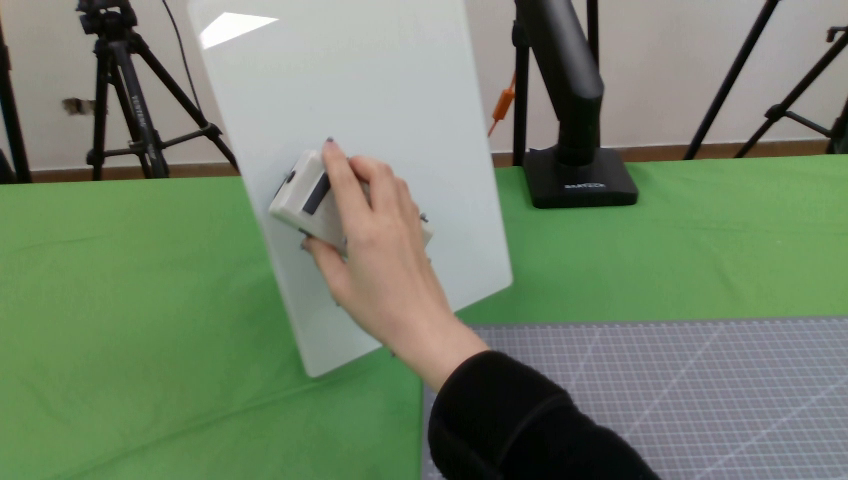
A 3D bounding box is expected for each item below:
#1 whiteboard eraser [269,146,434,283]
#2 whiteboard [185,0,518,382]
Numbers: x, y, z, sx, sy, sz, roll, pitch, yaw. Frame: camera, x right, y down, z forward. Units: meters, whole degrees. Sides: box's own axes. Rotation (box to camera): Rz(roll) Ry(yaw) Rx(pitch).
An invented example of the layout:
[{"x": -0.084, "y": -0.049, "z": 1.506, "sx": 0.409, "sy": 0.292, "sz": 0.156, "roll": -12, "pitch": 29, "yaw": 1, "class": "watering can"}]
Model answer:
[{"x": -0.051, "y": -0.017, "z": 0.445, "sx": 0.055, "sy": 0.113, "sz": 0.041, "roll": -62, "pitch": 23, "yaw": -11, "class": "whiteboard eraser"}, {"x": -0.065, "y": -0.073, "z": 0.550, "sx": 0.217, "sy": 0.307, "sz": 0.142, "roll": -22, "pitch": 22, "yaw": -23, "class": "whiteboard"}]
